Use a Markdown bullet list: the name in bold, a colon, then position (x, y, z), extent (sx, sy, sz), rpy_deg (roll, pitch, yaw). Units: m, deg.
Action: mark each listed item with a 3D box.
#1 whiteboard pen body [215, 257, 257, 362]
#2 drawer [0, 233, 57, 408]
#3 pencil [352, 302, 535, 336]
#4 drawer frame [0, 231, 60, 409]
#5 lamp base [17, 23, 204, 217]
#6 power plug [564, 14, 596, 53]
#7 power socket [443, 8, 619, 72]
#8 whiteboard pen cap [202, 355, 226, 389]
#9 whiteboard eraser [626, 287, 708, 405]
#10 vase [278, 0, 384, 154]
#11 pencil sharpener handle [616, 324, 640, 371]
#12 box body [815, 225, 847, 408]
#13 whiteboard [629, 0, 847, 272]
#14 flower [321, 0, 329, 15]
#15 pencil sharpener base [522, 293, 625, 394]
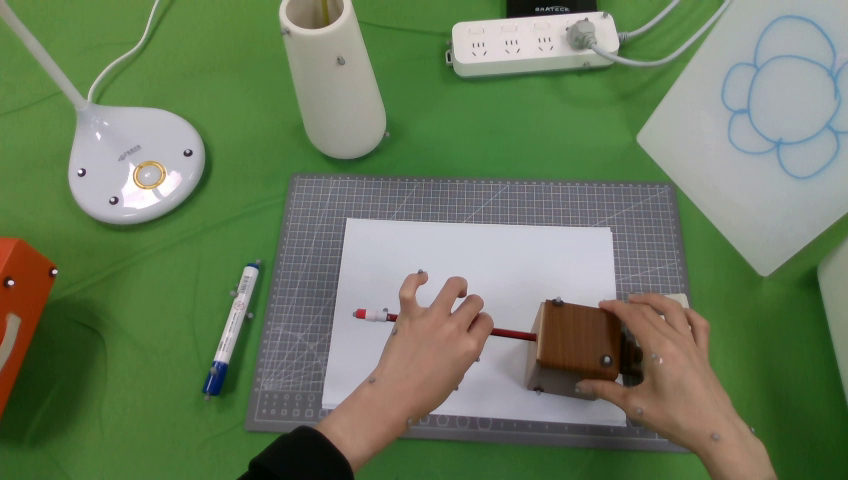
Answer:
- **whiteboard pen body**: position (-0.200, 0.081, 0.637), extent (0.017, 0.017, 0.139), rpy_deg (6, 61, 6)
- **drawer**: position (-0.490, 0.084, 0.565), extent (0.211, 0.074, 0.193), rpy_deg (4, 66, 4)
- **pencil**: position (0.031, 0.074, 0.549), extent (0.194, 0.012, 0.012), rpy_deg (8, 65, 2)
- **drawer frame**: position (-0.496, 0.086, 0.567), extent (0.213, 0.083, 0.200), rpy_deg (5, 65, 2)
- **lamp base**: position (-0.358, -0.138, 0.660), extent (0.178, 0.182, 0.160), rpy_deg (33, 69, 19)
- **power plug**: position (0.190, -0.246, 0.747), extent (0.035, 0.053, 0.072), rpy_deg (6, 66, 6)
- **power socket**: position (0.138, -0.258, 0.780), extent (0.227, 0.033, 0.071), rpy_deg (-3, 65, 0)
- **whiteboard pen cap**: position (-0.210, 0.131, 0.609), extent (0.018, 0.018, 0.033), rpy_deg (6, 59, 6)
- **whiteboard eraser**: position (0.237, 0.104, 0.597), extent (0.055, 0.042, 0.111), rpy_deg (-3, 64, -1)
- **vase**: position (-0.101, -0.182, 0.661), extent (0.098, 0.201, 0.097), rpy_deg (-1, 64, 3)
- **pencil sharpener handle**: position (0.187, 0.102, 0.549), extent (0.030, 0.068, 0.035), rpy_deg (8, 62, 6)
- **box body**: position (0.519, 0.135, 0.507), extent (0.254, 0.161, 0.361), rpy_deg (1, 65, 3)
- **whiteboard**: position (0.396, -0.151, 0.603), extent (0.144, 0.307, 0.215), rpy_deg (-20, 63, -28)
- **flower**: position (-0.097, -0.234, 0.595), extent (0.038, 0.365, 0.043), rpy_deg (-9, 46, -10)
- **pencil sharpener base**: position (0.137, 0.100, 0.566), extent (0.076, 0.108, 0.061), rpy_deg (8, 65, 6)
